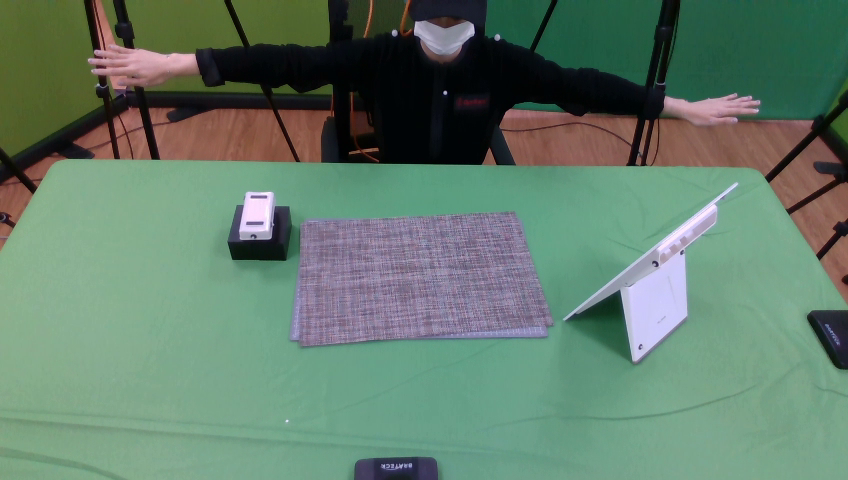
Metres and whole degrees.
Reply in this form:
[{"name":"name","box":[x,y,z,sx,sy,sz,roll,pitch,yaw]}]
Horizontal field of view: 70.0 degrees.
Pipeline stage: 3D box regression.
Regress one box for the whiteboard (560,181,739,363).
[{"name":"whiteboard","box":[0.406,0.076,1.000,0.217,0.306,0.143,-29,74,-29]}]

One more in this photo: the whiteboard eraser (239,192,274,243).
[{"name":"whiteboard eraser","box":[-0.312,-0.043,1.131,0.055,0.042,0.112,-3,46,-5]}]
